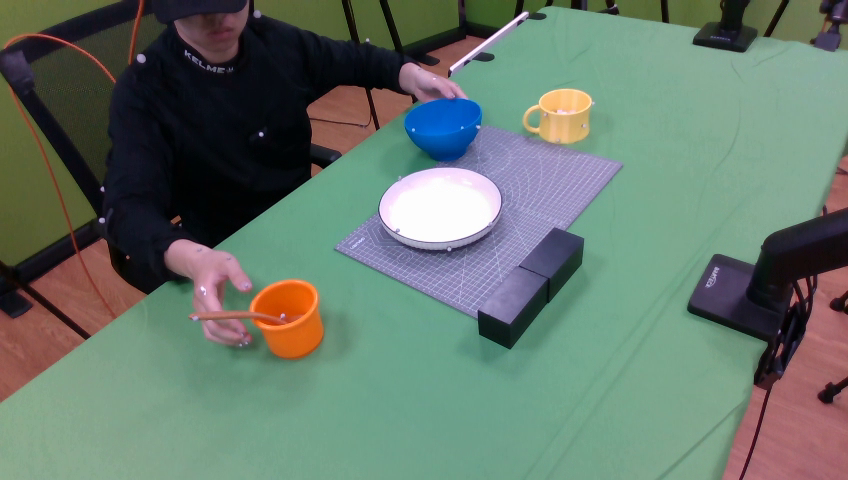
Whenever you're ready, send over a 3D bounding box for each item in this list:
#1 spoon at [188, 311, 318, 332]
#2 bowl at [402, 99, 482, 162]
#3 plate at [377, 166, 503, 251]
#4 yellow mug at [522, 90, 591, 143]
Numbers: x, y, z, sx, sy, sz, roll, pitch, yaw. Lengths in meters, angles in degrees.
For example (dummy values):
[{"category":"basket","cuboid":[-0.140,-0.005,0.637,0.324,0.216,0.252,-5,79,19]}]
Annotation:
[{"category":"spoon","cuboid":[-0.216,0.102,0.783,0.041,0.195,0.021,26,95,39]},{"category":"bowl","cuboid":[0.041,-0.202,1.154,0.151,0.077,0.150,-7,36,6]},{"category":"plate","cuboid":[0.027,-0.050,1.007,0.209,0.038,0.208,-4,41,4]},{"category":"yellow mug","cuboid":[0.257,-0.239,1.177,0.131,0.064,0.099,-6,40,3]}]
